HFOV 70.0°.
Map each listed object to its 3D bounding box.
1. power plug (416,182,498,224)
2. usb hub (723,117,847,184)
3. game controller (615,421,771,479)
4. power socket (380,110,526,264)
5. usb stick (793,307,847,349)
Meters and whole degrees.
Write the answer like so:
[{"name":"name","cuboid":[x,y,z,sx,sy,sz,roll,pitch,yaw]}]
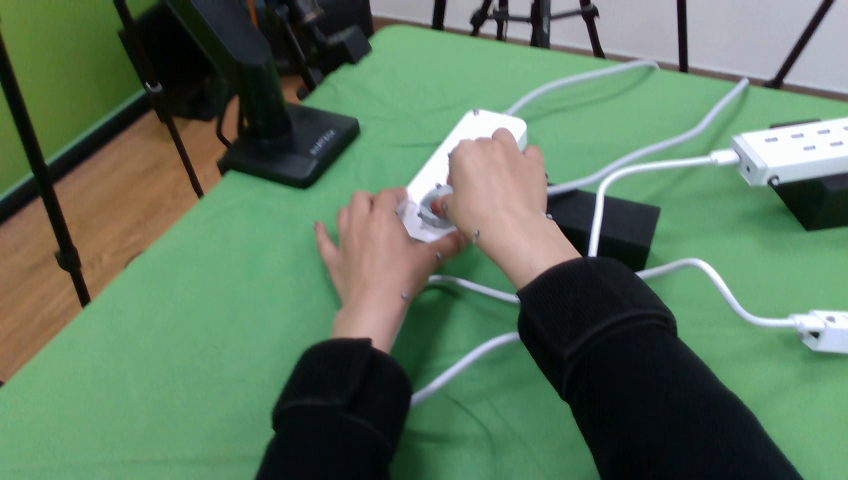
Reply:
[{"name":"power plug","cuboid":[0.025,-0.022,0.537,0.072,0.053,0.035,30,53,26]},{"name":"usb hub","cuboid":[0.340,-0.080,0.541,0.125,0.025,0.049,-10,46,-3]},{"name":"game controller","cuboid":[0.189,0.170,0.359,0.154,0.052,0.097,19,45,20]},{"name":"power socket","cuboid":[0.035,-0.062,0.609,0.072,0.033,0.226,20,49,21]},{"name":"usb stick","cuboid":[0.314,0.067,0.459,0.059,0.027,0.021,8,25,-18]}]
